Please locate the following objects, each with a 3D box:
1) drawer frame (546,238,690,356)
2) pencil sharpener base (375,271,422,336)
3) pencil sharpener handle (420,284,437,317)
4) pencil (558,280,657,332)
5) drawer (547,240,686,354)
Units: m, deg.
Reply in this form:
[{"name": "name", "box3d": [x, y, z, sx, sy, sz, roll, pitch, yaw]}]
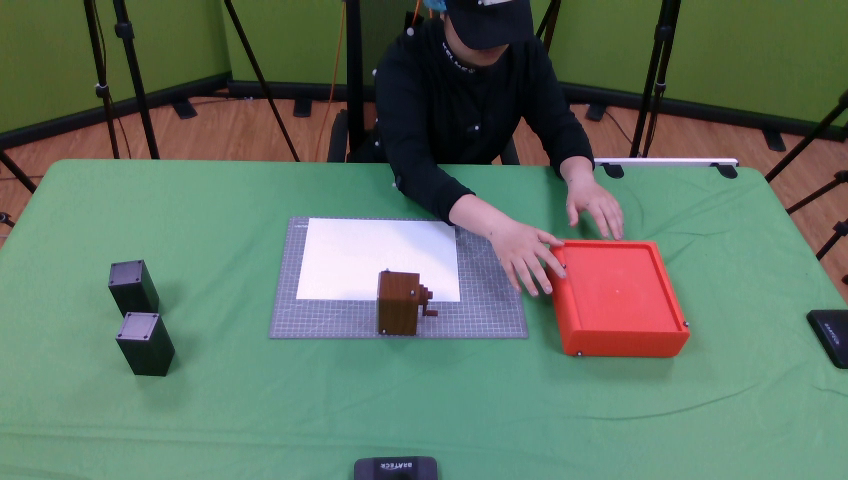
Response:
[{"name": "drawer frame", "box3d": [0.337, 0.098, 1.084, 0.202, 0.083, 0.212, 1, 46, -4]}, {"name": "pencil sharpener base", "box3d": [-0.043, 0.109, 1.024, 0.077, 0.107, 0.061, 3, 45, -2]}, {"name": "pencil sharpener handle", "box3d": [0.009, 0.104, 1.016, 0.030, 0.068, 0.036, 3, 38, -2]}, {"name": "pencil", "box3d": [0.334, 0.121, 1.105, 0.193, 0.012, 0.012, 27, 49, 14]}, {"name": "drawer", "box3d": [0.336, 0.098, 1.087, 0.194, 0.073, 0.210, 2, 46, -3]}]
